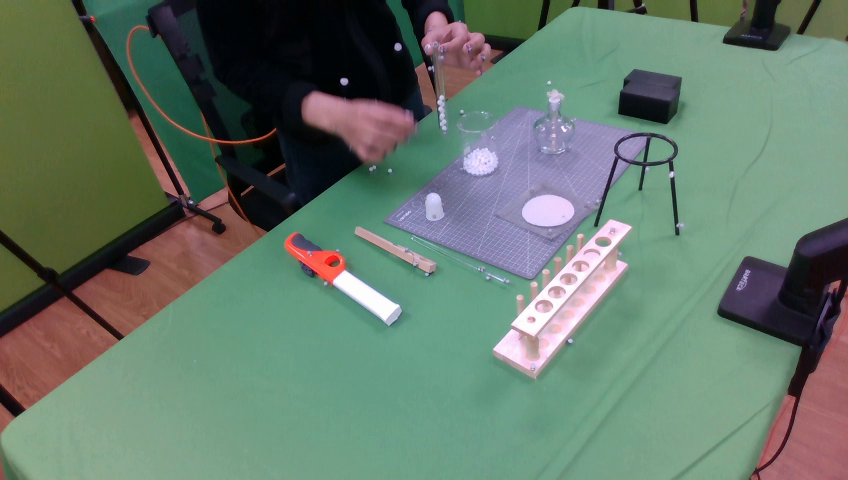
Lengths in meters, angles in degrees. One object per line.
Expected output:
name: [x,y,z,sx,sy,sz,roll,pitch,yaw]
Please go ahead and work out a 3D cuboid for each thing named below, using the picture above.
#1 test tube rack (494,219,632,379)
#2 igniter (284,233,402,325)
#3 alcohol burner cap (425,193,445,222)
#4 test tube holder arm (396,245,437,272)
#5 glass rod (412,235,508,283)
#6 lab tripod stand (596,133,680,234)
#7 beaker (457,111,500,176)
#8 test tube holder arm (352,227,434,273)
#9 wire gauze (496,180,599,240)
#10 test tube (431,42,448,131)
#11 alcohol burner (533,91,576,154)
test tube rack: [0.191,0.068,0.818,0.066,0.085,0.243,25,51,35]
igniter: [-0.136,0.054,0.942,0.274,0.025,0.057,30,63,37]
alcohol burner cap: [0.017,-0.058,1.029,0.034,0.048,0.033,-6,40,5]
test tube holder arm: [-0.016,0.029,0.957,0.087,0.015,0.010,25,15,34]
glass rod: [0.051,0.028,0.951,0.198,0.008,0.008,25,52,37]
lab tripod stand: [0.338,-0.090,0.940,0.148,0.132,0.147,-7,39,6]
beaker: [0.104,-0.176,1.108,0.073,0.101,0.084,16,46,27]
test tube holder arm: [-0.053,0.014,0.978,0.177,0.015,0.013,24,14,34]
wire gauze: [0.206,-0.050,1.012,0.125,0.011,0.120,-34,45,-26]
test tube: [0.025,-0.244,0.977,0.017,0.151,0.017,-5,38,4]
alcohol burner: [0.243,-0.222,1.124,0.078,0.119,0.077,-4,39,4]
